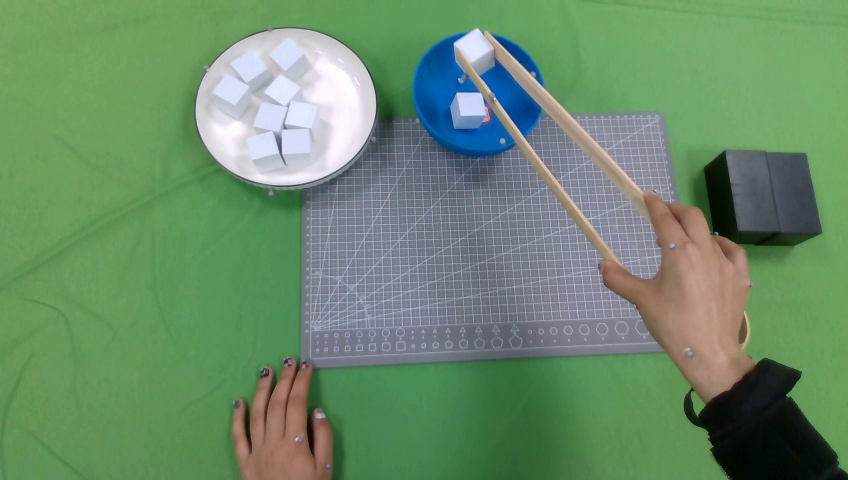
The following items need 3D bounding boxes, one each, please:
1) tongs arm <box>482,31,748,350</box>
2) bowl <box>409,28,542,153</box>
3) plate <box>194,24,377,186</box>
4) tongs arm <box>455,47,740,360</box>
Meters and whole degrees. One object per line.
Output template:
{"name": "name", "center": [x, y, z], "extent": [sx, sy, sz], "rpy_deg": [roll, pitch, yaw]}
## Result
{"name": "tongs arm", "center": [0.163, -0.063, 0.563], "extent": [0.028, 0.028, 0.384], "rpy_deg": [-31, 69, -10]}
{"name": "bowl", "center": [0.056, -0.160, 0.709], "extent": [0.151, 0.077, 0.150], "rpy_deg": [1, 73, -4]}
{"name": "plate", "center": [-0.159, -0.157, 0.714], "extent": [0.208, 0.039, 0.206], "rpy_deg": [1, 73, -3]}
{"name": "tongs arm", "center": [0.143, -0.051, 0.560], "extent": [0.051, 0.027, 0.381], "rpy_deg": [-28, 69, -5]}
